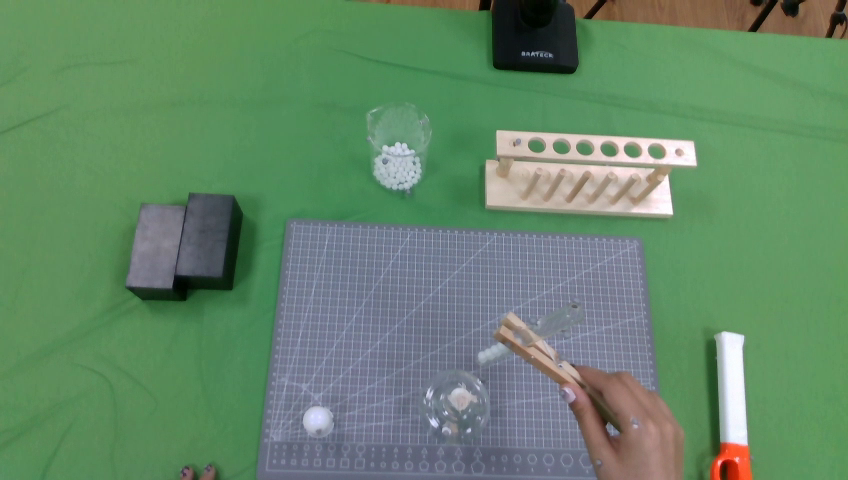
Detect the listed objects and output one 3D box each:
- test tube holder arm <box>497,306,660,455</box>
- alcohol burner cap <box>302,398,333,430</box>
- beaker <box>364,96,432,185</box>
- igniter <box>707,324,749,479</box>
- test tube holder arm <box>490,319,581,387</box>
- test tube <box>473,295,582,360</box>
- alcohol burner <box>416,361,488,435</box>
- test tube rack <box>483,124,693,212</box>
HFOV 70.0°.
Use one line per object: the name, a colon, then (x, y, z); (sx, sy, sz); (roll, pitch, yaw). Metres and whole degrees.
test tube holder arm: (0.131, 0.119, 0.508); (0.178, 0.015, 0.013); (41, 61, -4)
alcohol burner cap: (-0.115, 0.185, 0.650); (0.034, 0.048, 0.033); (2, 70, -5)
beaker: (-0.036, -0.118, 0.741); (0.084, 0.101, 0.074); (29, 70, 7)
igniter: (0.346, 0.231, 0.685); (0.057, 0.025, 0.275); (12, 69, -11)
test tube holder arm: (0.093, 0.094, 0.501); (0.088, 0.015, 0.010); (35, 61, -7)
test tube: (0.079, 0.076, 0.498); (0.017, 0.150, 0.017); (10, 63, -21)
alcohol burner: (0.032, 0.163, 0.633); (0.078, 0.120, 0.077); (2, 68, -5)
test tube rack: (0.201, -0.088, 0.758); (0.243, 0.085, 0.066); (3, 69, -4)
